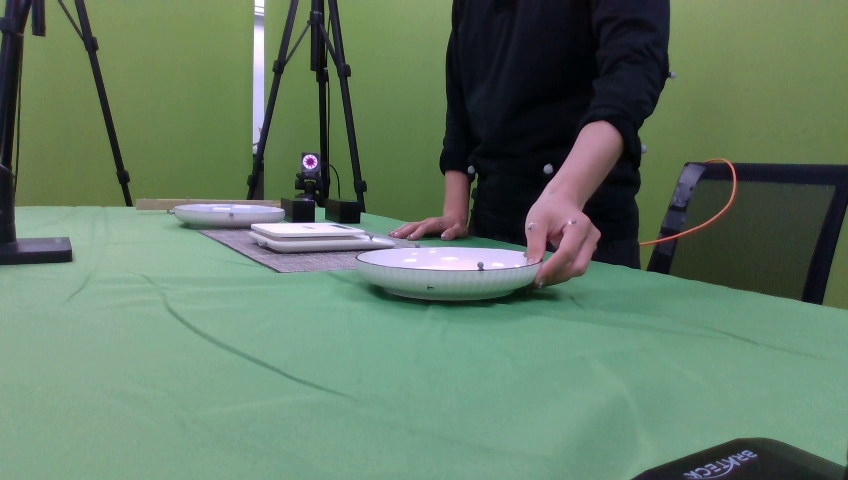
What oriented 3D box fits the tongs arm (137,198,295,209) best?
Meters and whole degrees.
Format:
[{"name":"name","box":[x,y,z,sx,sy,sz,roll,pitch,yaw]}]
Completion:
[{"name":"tongs arm","box":[-0.489,-0.086,1.472,0.050,0.026,0.387,10,9,42]}]

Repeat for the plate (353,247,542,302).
[{"name":"plate","box":[0.025,0.036,0.672,0.209,0.038,0.209,1,6,0]}]

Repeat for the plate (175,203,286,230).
[{"name":"plate","box":[-0.381,-0.047,1.199,0.208,0.039,0.207,3,7,0]}]

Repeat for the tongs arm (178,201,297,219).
[{"name":"tongs arm","box":[-0.418,-0.072,1.420,0.028,0.028,0.389,4,7,27]}]

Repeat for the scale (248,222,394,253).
[{"name":"scale","box":[-0.162,-0.006,0.954,0.202,0.031,0.148,-1,9,-32]}]
